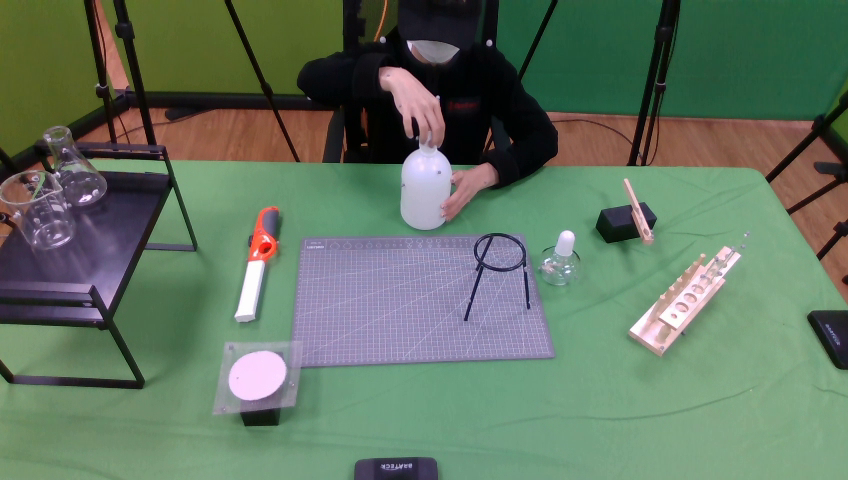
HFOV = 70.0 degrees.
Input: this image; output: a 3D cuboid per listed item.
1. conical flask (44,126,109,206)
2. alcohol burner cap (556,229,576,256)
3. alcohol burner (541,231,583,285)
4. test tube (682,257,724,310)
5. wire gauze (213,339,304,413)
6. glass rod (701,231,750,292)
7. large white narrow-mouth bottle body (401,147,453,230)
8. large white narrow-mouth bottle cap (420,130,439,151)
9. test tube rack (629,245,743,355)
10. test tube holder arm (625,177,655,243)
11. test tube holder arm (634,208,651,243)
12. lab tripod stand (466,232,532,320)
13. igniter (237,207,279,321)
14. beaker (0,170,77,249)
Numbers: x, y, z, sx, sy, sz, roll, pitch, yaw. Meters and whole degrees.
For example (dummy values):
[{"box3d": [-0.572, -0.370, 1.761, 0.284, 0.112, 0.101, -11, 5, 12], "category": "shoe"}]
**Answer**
[{"box3d": [-0.554, -0.119, 0.953, 0.075, 0.122, 0.075, 2, 46, -2], "category": "conical flask"}, {"box3d": [0.260, 0.002, 1.098, 0.034, 0.048, 0.033, 3, 40, -2], "category": "alcohol burner cap"}, {"box3d": [0.258, 0.028, 1.123, 0.078, 0.120, 0.077, 1, 48, -1], "category": "alcohol burner"}, {"box3d": [0.475, 0.080, 1.037, 0.017, 0.151, 0.017, 2, 51, -2], "category": "test tube"}, {"box3d": [-0.250, 0.203, 0.925, 0.121, 0.011, 0.124, -1, 46, -3], "category": "wire gauze"}, {"box3d": [0.519, 0.045, 1.050, 0.008, 0.201, 0.008, 0, 55, 0], "category": "glass rod"}, {"box3d": [0.005, -0.119, 1.191, 0.102, 0.195, 0.101, 2, 46, -2], "category": "large white narrow-mouth bottle body"}, {"box3d": [0.011, -0.185, 1.121, 0.038, 0.024, 0.037, 2, 46, -2], "category": "large white narrow-mouth bottle cap"}, {"box3d": [0.474, 0.095, 1.091, 0.242, 0.085, 0.066, -34, 56, -31], "category": "test tube rack"}, {"box3d": [0.433, -0.062, 1.220, 0.013, 0.015, 0.177, 1, 47, -3], "category": "test tube holder arm"}, {"box3d": [0.428, -0.030, 1.189, 0.010, 0.015, 0.087, 1, 47, -2], "category": "test tube holder arm"}, {"box3d": [0.125, 0.059, 1.065, 0.148, 0.132, 0.147, 1, 45, 0], "category": "lab tripod stand"}, {"box3d": [-0.309, 0.035, 1.136, 0.057, 0.025, 0.274, -7, 45, 4], "category": "igniter"}, {"box3d": [-0.562, -0.042, 0.894, 0.084, 0.101, 0.073, -2, 47, -7], "category": "beaker"}]
